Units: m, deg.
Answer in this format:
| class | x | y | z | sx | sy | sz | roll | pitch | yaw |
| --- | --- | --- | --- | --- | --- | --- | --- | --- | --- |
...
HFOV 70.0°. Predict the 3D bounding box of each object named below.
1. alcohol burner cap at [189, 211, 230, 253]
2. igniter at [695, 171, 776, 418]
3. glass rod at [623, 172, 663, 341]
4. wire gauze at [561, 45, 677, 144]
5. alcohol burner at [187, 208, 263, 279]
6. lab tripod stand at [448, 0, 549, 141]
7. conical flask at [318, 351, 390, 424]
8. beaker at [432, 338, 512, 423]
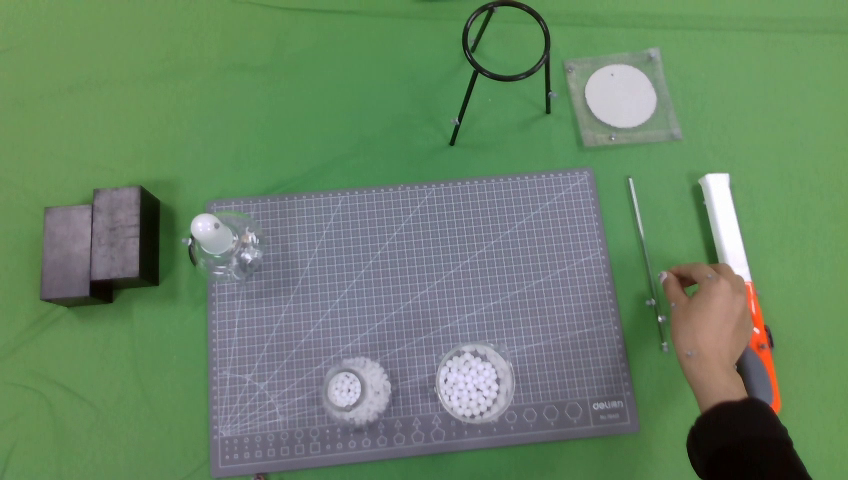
| class | x | y | z | sx | sy | sz | roll | pitch | yaw |
| --- | --- | --- | --- | --- | --- | --- | --- | --- | --- |
| alcohol burner cap | -0.211 | -0.010 | 0.589 | 0.034 | 0.048 | 0.033 | 1 | 67 | -2 |
| igniter | 0.345 | 0.055 | 0.674 | 0.057 | 0.025 | 0.275 | -3 | 76 | -14 |
| glass rod | 0.249 | 0.016 | 0.689 | 0.008 | 0.008 | 0.198 | -7 | 77 | -3 |
| wire gauze | 0.237 | -0.176 | 0.736 | 0.125 | 0.011 | 0.121 | -7 | 77 | -5 |
| alcohol burner | -0.210 | 0.000 | 0.624 | 0.078 | 0.119 | 0.077 | 0 | 77 | 1 |
| lab tripod stand | 0.078 | -0.185 | 0.670 | 0.148 | 0.132 | 0.147 | 0 | 78 | -2 |
| conical flask | -0.073 | 0.143 | 0.590 | 0.075 | 0.122 | 0.075 | 0 | 76 | -1 |
| beaker | 0.046 | 0.138 | 0.606 | 0.074 | 0.100 | 0.084 | 41 | 78 | 8 |
